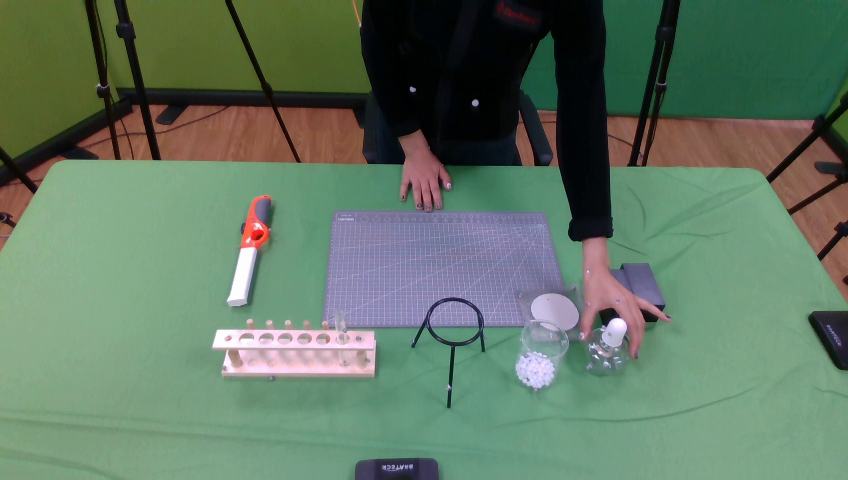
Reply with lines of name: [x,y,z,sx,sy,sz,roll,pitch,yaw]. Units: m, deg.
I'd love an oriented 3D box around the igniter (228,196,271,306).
igniter: [-0.332,0.011,1.160,0.057,0.025,0.274,-6,46,5]

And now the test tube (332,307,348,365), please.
test tube: [-0.128,0.151,0.931,0.017,0.151,0.017,1,50,-2]

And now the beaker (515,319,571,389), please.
beaker: [0.186,0.186,0.980,0.074,0.101,0.083,-23,51,-24]

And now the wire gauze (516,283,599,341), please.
wire gauze: [0.240,0.131,1.094,0.125,0.011,0.120,-3,47,-8]

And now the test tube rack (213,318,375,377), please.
test tube rack: [-0.202,0.170,0.977,0.242,0.085,0.066,1,46,-3]

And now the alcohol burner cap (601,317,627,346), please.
alcohol burner cap: [0.303,0.142,0.961,0.034,0.048,0.033,4,43,-3]

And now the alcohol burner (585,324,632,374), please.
alcohol burner: [0.304,0.167,0.987,0.078,0.120,0.077,0,50,0]

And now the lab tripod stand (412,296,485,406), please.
lab tripod stand: [0.045,0.168,0.963,0.148,0.132,0.147,3,47,-3]
